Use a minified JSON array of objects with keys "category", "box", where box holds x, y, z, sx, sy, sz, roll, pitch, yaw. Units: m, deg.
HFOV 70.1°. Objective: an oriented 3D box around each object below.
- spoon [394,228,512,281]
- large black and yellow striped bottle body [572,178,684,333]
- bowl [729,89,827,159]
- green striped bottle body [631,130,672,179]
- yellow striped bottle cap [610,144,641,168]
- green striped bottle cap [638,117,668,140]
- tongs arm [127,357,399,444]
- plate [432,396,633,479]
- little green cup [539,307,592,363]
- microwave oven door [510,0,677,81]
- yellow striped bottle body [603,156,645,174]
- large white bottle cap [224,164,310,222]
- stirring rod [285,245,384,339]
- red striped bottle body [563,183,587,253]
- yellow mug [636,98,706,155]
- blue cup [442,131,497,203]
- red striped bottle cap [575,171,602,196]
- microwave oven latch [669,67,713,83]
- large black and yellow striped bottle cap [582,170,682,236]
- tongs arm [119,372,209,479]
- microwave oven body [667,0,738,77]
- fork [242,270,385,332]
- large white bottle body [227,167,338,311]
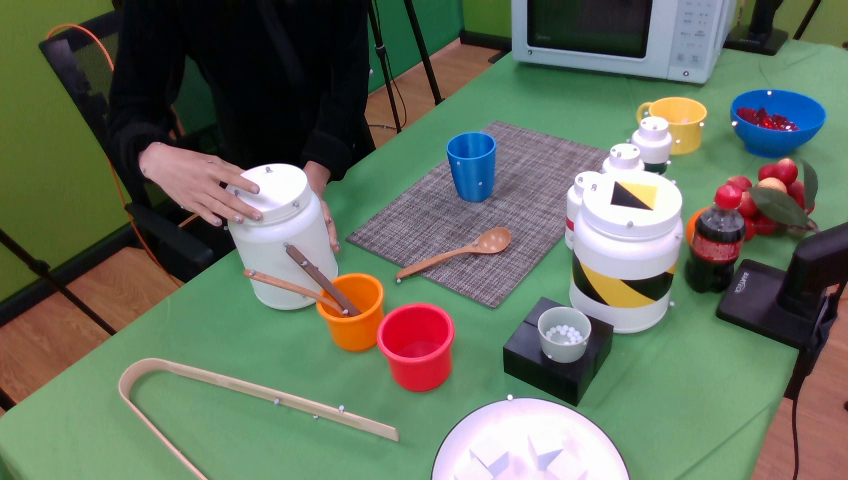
[{"category":"spoon","box":[0.045,0.024,0.935,0.194,0.022,0.041,-18,66,-11]},{"category":"large black and yellow striped bottle body","box":[0.262,0.017,0.788,0.131,0.185,0.130,-5,40,4]},{"category":"bowl","box":[0.615,-0.197,1.069,0.151,0.077,0.150,-5,40,5]},{"category":"green striped bottle body","box":[0.375,-0.140,1.007,0.063,0.120,0.063,-5,40,5]},{"category":"yellow striped bottle cap","box":[0.307,-0.128,0.923,0.044,0.019,0.044,-6,40,5]},{"category":"green striped bottle cap","box":[0.369,-0.180,0.974,0.044,0.020,0.044,-4,41,4]},{"category":"tongs arm","box":[-0.213,0.205,0.755,0.382,0.026,0.051,12,45,23]},{"category":"plate","box":[0.112,0.261,0.634,0.209,0.038,0.208,-5,40,4]},{"category":"little green cup","box":[0.168,0.115,0.721,0.061,0.039,0.061,-4,42,4]},{"category":"microwave oven door","box":[0.354,-0.478,1.290,0.353,0.245,0.039,15,45,25]},{"category":"yellow striped bottle body","box":[0.313,-0.089,0.956,0.063,0.121,0.062,-4,40,4]},{"category":"large white bottle cap","box":[-0.214,-0.066,0.829,0.115,0.018,0.114,-3,40,3]},{"category":"stirring rod","box":[-0.121,0.071,0.819,0.176,0.006,0.014,44,53,-6]},{"category":"red striped bottle body","box":[0.246,-0.041,0.910,0.063,0.120,0.062,-2,38,2]},{"category":"yellow mug","box":[0.453,-0.217,1.128,0.100,0.064,0.129,-34,46,-27]},{"category":"blue cup","box":[0.085,-0.121,1.039,0.092,0.100,0.092,-5,41,5]},{"category":"red striped bottle cap","box":[0.242,-0.081,0.876,0.044,0.018,0.044,-5,44,5]},{"category":"microwave oven latch","box":[0.556,-0.348,1.261,0.078,0.029,0.030,16,46,27]},{"category":"large black and yellow striped bottle cap","box":[0.252,-0.048,0.735,0.115,0.019,0.114,-3,40,3]},{"category":"tongs arm","box":[-0.258,0.257,0.700,0.384,0.028,0.028,24,55,34]},{"category":"microwave oven body","box":[0.462,-0.552,1.369,0.439,0.261,0.326,14,45,26]},{"category":"fork","box":[-0.142,0.082,0.802,0.209,0.018,0.028,28,38,-26]},{"category":"large white bottle body","box":[-0.207,-0.002,0.883,0.130,0.185,0.130,-4,40,4]}]
